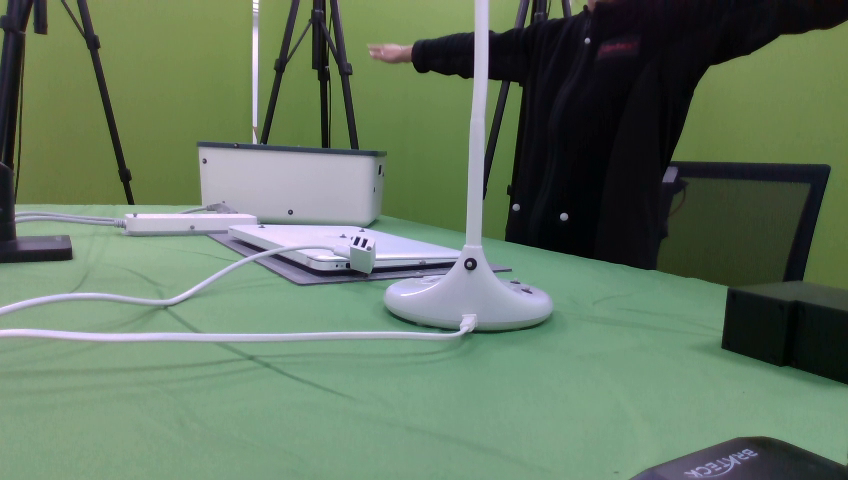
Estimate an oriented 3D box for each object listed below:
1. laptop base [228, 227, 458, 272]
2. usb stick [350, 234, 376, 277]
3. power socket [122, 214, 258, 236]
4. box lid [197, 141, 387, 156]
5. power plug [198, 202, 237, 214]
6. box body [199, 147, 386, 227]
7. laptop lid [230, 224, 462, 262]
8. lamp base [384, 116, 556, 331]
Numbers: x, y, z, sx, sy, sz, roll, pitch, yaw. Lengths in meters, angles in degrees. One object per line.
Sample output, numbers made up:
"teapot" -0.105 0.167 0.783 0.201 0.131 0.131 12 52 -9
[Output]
"laptop base" -0.122 0.011 0.889 0.237 0.023 0.352 2 6 -35
"usb stick" -0.069 0.020 0.689 0.027 0.059 0.021 12 53 8
"power socket" -0.399 -0.028 1.050 0.228 0.032 0.072 -3 8 -33
"box lid" -0.275 -0.198 1.325 0.372 0.015 0.263 3 8 1
"power plug" -0.391 -0.046 1.163 0.072 0.052 0.035 -12 3 27
"box body" -0.277 -0.124 1.334 0.364 0.160 0.254 3 7 1
"laptop lid" -0.119 0.000 0.889 0.243 0.013 0.355 1 7 -33
"lamp base" 0.046 -0.019 0.545 0.161 0.180 0.179 2 10 -4
